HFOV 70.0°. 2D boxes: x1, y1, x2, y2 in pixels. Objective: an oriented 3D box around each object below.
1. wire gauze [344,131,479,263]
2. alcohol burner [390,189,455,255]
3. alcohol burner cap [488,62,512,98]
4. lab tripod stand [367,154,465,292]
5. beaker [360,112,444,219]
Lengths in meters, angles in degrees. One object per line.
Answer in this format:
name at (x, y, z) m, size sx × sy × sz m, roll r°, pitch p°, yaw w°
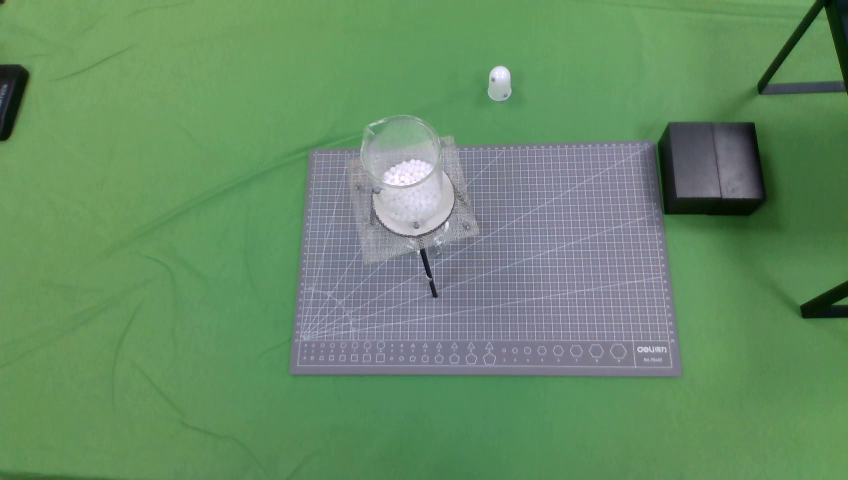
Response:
wire gauze at (-0.015, -0.049, 0.633) m, size 0.121 × 0.011 × 0.124 m, roll -14°, pitch 74°, yaw 1°
alcohol burner at (-0.004, -0.026, 0.704) m, size 0.078 × 0.120 × 0.077 m, roll -2°, pitch 68°, yaw 5°
alcohol burner cap at (0.101, -0.215, 0.803) m, size 0.034 × 0.048 × 0.033 m, roll -2°, pitch 71°, yaw 6°
lab tripod stand at (-0.006, -0.025, 0.694) m, size 0.148 × 0.132 × 0.147 m, roll -1°, pitch 71°, yaw 3°
beaker at (-0.020, -0.069, 0.589) m, size 0.083 × 0.101 × 0.074 m, roll 40°, pitch 78°, yaw 15°
